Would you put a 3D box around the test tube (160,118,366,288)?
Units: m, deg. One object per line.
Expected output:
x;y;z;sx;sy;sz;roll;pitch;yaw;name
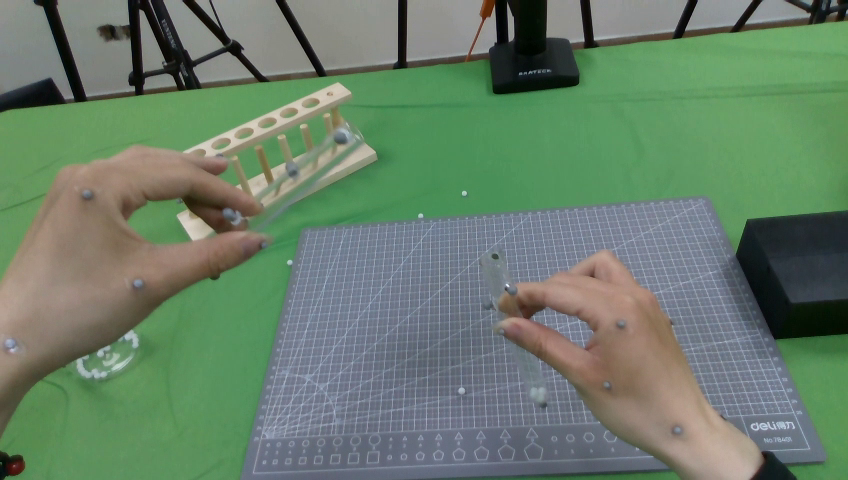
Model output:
-0.093;-0.017;0.336;0.150;0.017;0.017;-35;43;16;test tube

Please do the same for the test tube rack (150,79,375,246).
-0.184;-0.097;0.723;0.242;0.086;0.066;-31;49;-20;test tube rack

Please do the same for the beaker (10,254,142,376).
-0.318;0.072;0.569;0.073;0.101;0.083;17;50;23;beaker

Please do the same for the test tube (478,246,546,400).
0.062;0.062;0.409;0.017;0.152;0.017;-14;39;12;test tube
